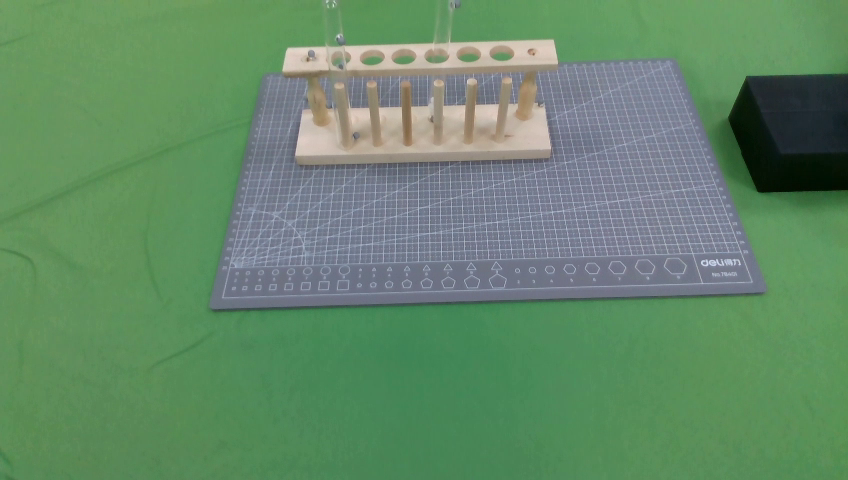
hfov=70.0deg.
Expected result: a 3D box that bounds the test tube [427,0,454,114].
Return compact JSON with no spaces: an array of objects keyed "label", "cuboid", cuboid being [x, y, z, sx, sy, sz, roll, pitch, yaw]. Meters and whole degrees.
[{"label":"test tube","cuboid":[0.015,-0.173,0.535,0.017,0.151,0.017,2,51,-3]}]

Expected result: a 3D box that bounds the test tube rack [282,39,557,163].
[{"label":"test tube rack","cuboid":[-0.003,-0.128,0.565,0.242,0.086,0.066,-1,53,1]}]

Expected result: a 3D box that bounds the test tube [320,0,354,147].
[{"label":"test tube","cuboid":[-0.074,-0.139,0.519,0.017,0.152,0.017,1,53,-1]}]
